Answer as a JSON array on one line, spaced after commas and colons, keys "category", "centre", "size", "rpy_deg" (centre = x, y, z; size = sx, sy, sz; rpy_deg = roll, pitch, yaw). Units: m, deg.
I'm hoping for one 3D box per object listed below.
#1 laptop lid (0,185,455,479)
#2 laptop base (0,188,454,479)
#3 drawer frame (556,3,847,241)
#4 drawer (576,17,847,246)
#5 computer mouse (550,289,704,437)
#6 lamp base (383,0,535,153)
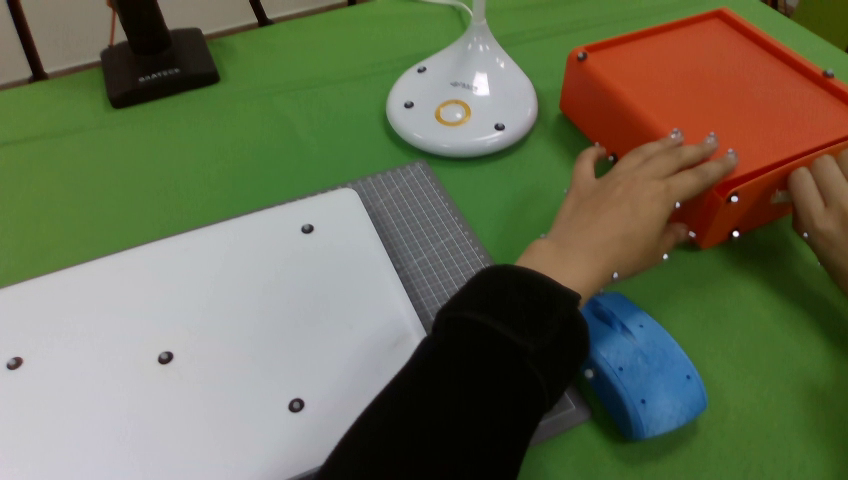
[{"category": "laptop lid", "centre": [-0.182, 0.085, 0.434], "size": [0.357, 0.013, 0.239], "rpy_deg": [-17, 53, -13]}, {"category": "laptop base", "centre": [-0.182, 0.091, 0.444], "size": [0.355, 0.023, 0.233], "rpy_deg": [-19, 55, -14]}, {"category": "drawer frame", "centre": [0.269, -0.121, 0.573], "size": [0.202, 0.083, 0.211], "rpy_deg": [-21, 51, -15]}, {"category": "drawer", "centre": [0.274, -0.114, 0.567], "size": [0.195, 0.074, 0.209], "rpy_deg": [-20, 52, -15]}, {"category": "computer mouse", "centre": [0.142, 0.081, 0.433], "size": [0.063, 0.041, 0.116], "rpy_deg": [-19, 47, -11]}, {"category": "lamp base", "centre": [0.036, -0.206, 0.587], "size": [0.160, 0.182, 0.177], "rpy_deg": [7, 48, 8]}]
